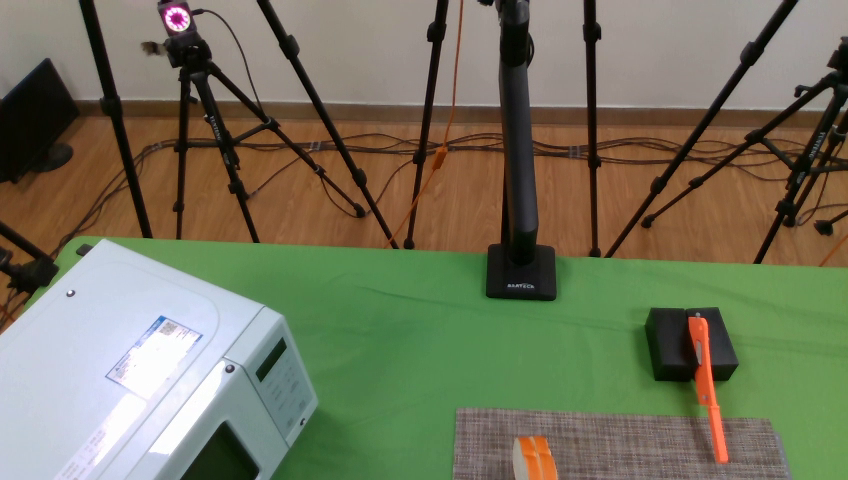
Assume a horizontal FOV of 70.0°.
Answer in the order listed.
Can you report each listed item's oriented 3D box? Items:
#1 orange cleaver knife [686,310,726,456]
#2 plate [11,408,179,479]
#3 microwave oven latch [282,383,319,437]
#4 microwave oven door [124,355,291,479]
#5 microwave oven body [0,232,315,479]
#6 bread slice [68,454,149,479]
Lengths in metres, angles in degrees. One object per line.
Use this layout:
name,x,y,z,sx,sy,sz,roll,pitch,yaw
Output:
orange cleaver knife,0.400,0.198,0.868,0.012,0.078,0.210,-3,71,5
plate,-0.418,0.318,0.775,0.208,0.039,0.205,0,48,0
microwave oven latch,-0.183,0.243,0.878,0.030,0.030,0.079,21,55,19
microwave oven door,-0.289,0.329,0.678,0.039,0.246,0.354,19,54,19
microwave oven body,-0.401,0.259,0.752,0.324,0.262,0.439,19,55,18
bread slice,-0.414,0.342,0.763,0.135,0.018,0.106,-14,49,-21
